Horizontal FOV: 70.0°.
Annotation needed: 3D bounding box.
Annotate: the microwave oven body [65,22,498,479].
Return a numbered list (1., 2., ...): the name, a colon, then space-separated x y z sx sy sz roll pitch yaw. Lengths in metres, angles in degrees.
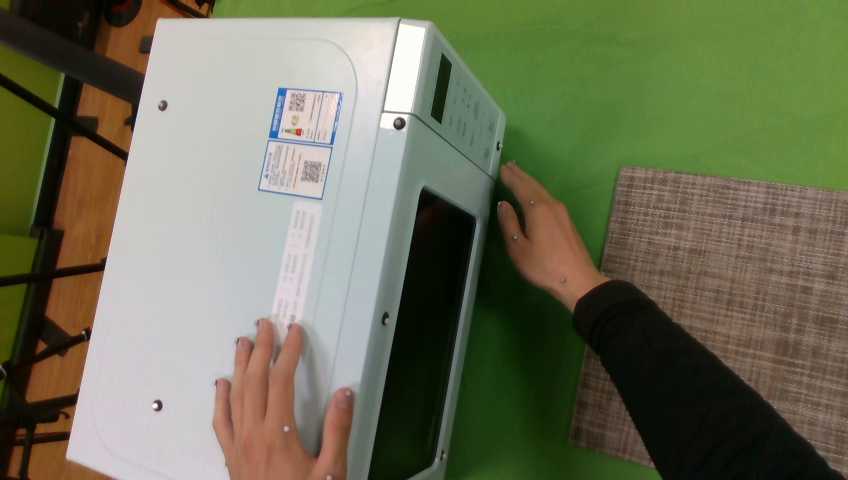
1. microwave oven body: -0.133 0.032 0.645 0.324 0.262 0.441 9 87 23

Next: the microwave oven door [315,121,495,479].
1. microwave oven door: -0.010 0.093 0.580 0.039 0.245 0.355 9 86 24

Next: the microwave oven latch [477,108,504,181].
1. microwave oven latch: 0.071 -0.108 0.685 0.030 0.030 0.079 10 87 23
